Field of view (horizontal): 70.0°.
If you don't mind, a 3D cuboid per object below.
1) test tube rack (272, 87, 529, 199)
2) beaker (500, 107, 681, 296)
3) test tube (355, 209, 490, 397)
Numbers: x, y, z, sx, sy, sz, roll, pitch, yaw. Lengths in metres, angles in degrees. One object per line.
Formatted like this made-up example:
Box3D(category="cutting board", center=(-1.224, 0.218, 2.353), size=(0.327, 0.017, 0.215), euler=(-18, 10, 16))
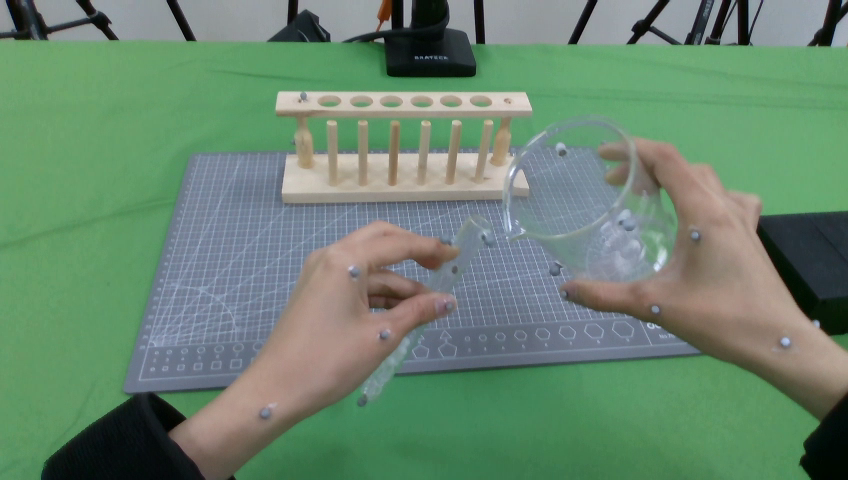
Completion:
Box3D(category="test tube rack", center=(-0.021, -0.096, 0.598), size=(0.243, 0.086, 0.066), euler=(-1, 43, -6))
Box3D(category="beaker", center=(0.098, -0.014, 0.349), size=(0.084, 0.101, 0.073), euler=(-44, 45, 10))
Box3D(category="test tube", center=(-0.005, 0.043, 0.368), size=(0.017, 0.151, 0.017), euler=(26, 26, -13))
